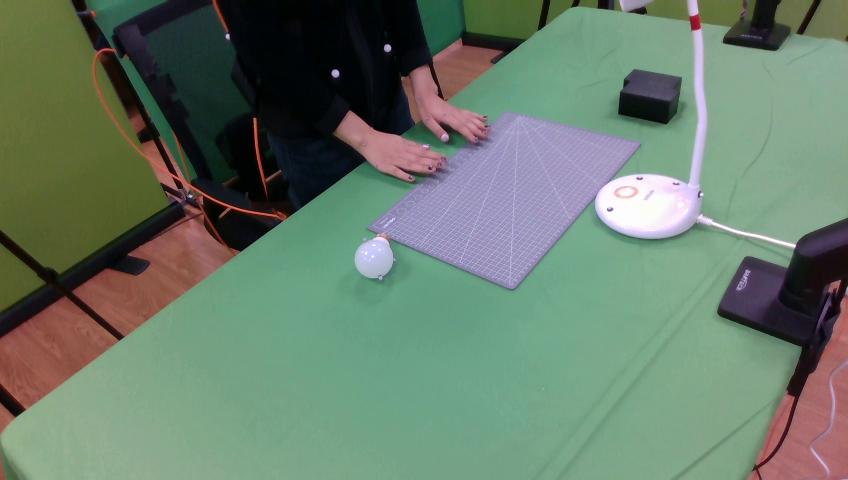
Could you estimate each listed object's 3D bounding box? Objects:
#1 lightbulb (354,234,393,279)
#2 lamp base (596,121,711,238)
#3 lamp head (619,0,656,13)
[{"bbox_3d":[-0.075,0.020,0.952,0.059,0.060,0.107,-2,25,9],"label":"lightbulb"},{"bbox_3d":[0.363,-0.113,0.925,0.178,0.181,0.161,17,47,24],"label":"lamp base"},{"bbox_3d":[0.282,-0.338,0.715,0.122,0.113,0.112,-9,40,15],"label":"lamp head"}]
